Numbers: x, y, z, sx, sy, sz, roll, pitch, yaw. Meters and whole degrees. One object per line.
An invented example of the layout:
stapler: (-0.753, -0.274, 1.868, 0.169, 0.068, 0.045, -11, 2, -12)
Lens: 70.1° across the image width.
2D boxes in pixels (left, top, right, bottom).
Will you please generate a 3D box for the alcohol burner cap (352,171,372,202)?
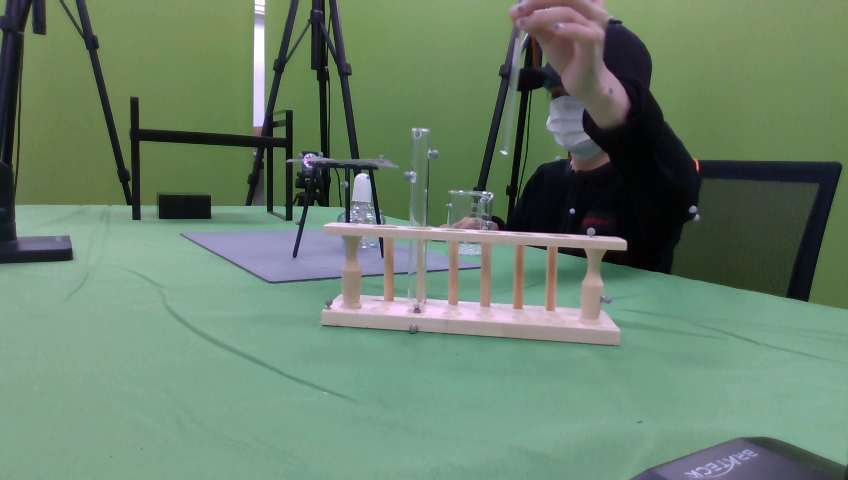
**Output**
alcohol burner cap: (-0.096, -0.084, 0.951, 0.034, 0.048, 0.034, 6, 5, 0)

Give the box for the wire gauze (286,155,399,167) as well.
wire gauze: (-0.101, -0.105, 0.788, 0.121, 0.011, 0.125, 4, 6, 6)

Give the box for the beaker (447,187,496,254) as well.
beaker: (0.075, -0.031, 0.949, 0.074, 0.100, 0.083, -5, 11, -42)

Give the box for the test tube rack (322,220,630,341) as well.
test tube rack: (0.041, 0.029, 0.512, 0.242, 0.085, 0.067, 3, 7, 5)

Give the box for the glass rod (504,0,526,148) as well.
glass rod: (0.087, -0.182, 0.550, 0.008, 0.199, 0.008, 6, 0, 0)

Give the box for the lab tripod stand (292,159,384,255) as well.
lab tripod stand: (-0.105, -0.039, 0.797, 0.148, 0.131, 0.148, 2, 5, 0)

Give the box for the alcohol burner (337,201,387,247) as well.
alcohol burner: (-0.098, -0.049, 0.954, 0.078, 0.119, 0.078, 0, 7, 0)

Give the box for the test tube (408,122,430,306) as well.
test tube: (-0.004, -0.019, 0.488, 0.017, 0.150, 0.017, 1, 11, 0)
